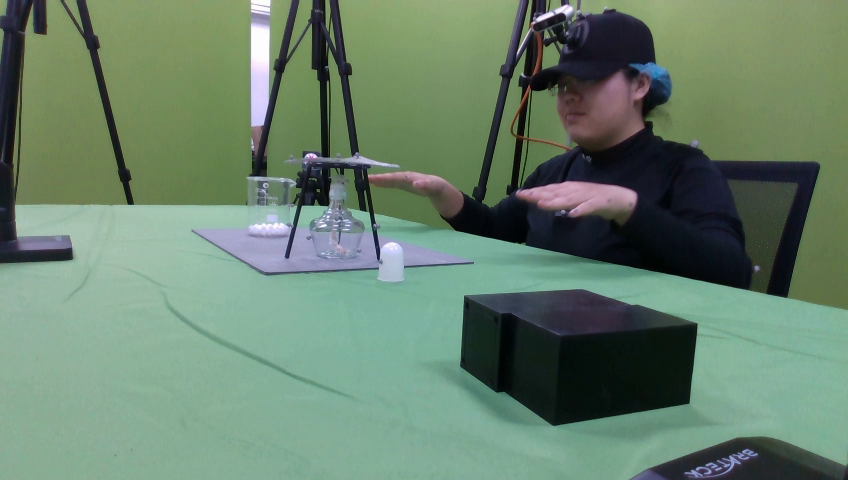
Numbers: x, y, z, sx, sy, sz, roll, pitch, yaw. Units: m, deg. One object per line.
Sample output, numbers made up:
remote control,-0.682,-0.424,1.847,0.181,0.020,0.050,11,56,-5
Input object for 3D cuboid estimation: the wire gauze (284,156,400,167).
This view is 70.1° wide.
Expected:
wire gauze,-0.115,-0.109,0.835,0.126,0.011,0.121,-3,10,-30

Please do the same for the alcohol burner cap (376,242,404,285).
alcohol burner cap,-0.039,0.026,0.710,0.034,0.048,0.034,3,6,0

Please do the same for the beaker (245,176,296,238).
beaker,-0.263,-0.057,1.034,0.084,0.100,0.074,1,8,-17

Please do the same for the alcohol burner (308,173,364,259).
alcohol burner,-0.121,-0.033,0.843,0.078,0.119,0.078,3,5,0

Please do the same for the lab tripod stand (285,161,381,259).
lab tripod stand,-0.123,-0.043,0.842,0.148,0.131,0.148,3,9,0
